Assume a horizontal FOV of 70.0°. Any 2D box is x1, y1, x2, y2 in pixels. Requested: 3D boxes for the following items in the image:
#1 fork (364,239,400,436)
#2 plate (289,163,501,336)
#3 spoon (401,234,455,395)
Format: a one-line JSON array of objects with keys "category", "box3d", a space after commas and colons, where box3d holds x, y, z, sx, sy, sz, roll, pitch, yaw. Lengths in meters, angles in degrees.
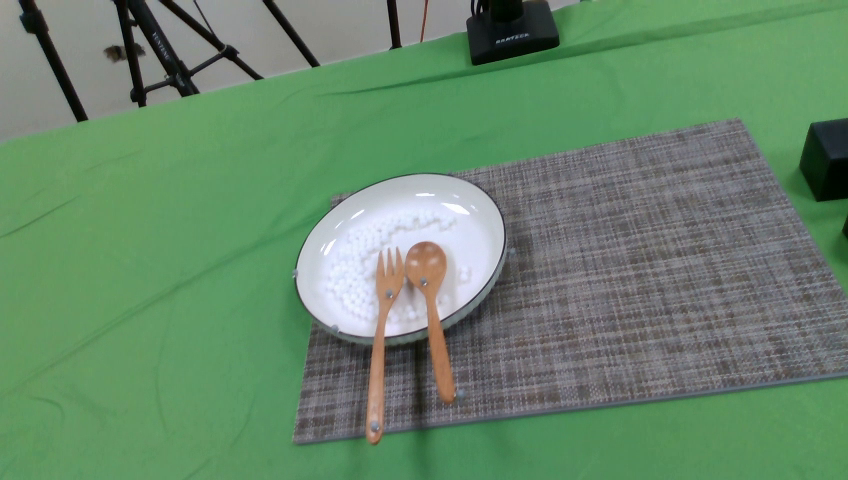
[{"category": "fork", "box3d": [-0.037, 0.071, 0.512, 0.028, 0.019, 0.205, -7, 39, 7]}, {"category": "plate", "box3d": [-0.026, 0.009, 0.586, 0.207, 0.039, 0.205, -9, 47, 10]}, {"category": "spoon", "box3d": [0.004, 0.054, 0.512, 0.041, 0.022, 0.192, -12, 33, 2]}]
